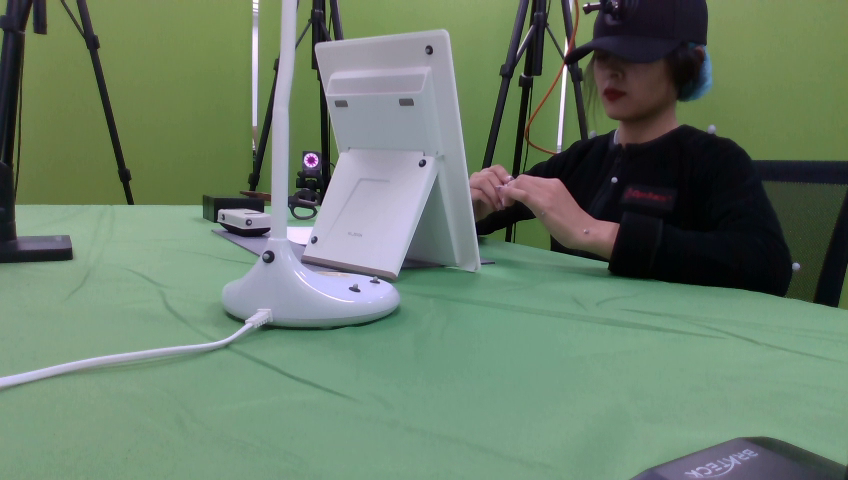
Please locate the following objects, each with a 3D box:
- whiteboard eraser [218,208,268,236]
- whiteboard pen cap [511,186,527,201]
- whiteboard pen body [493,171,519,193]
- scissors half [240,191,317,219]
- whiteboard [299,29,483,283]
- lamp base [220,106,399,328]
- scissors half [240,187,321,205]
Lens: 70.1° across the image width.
[{"bbox_3d":[-0.309,-0.031,1.044,0.056,0.042,0.112,-2,9,-40],"label":"whiteboard eraser"},{"bbox_3d":[0.138,-0.069,0.893,0.018,0.018,0.033,1,18,-11],"label":"whiteboard pen cap"},{"bbox_3d":[0.131,-0.089,0.950,0.017,0.017,0.140,1,17,-8],"label":"whiteboard pen body"},{"bbox_3d":[-0.317,-0.079,1.326,0.176,0.040,0.013,18,15,-31],"label":"scissors half"},{"bbox_3d":[-0.074,-0.082,0.742,0.216,0.305,0.144,9,29,38],"label":"whiteboard"},{"bbox_3d":[-0.101,-0.023,0.531,0.160,0.180,0.179,4,10,10],"label":"lamp base"},{"bbox_3d":[-0.311,-0.097,1.319,0.176,0.040,0.012,-1,30,-25],"label":"scissors half"}]
